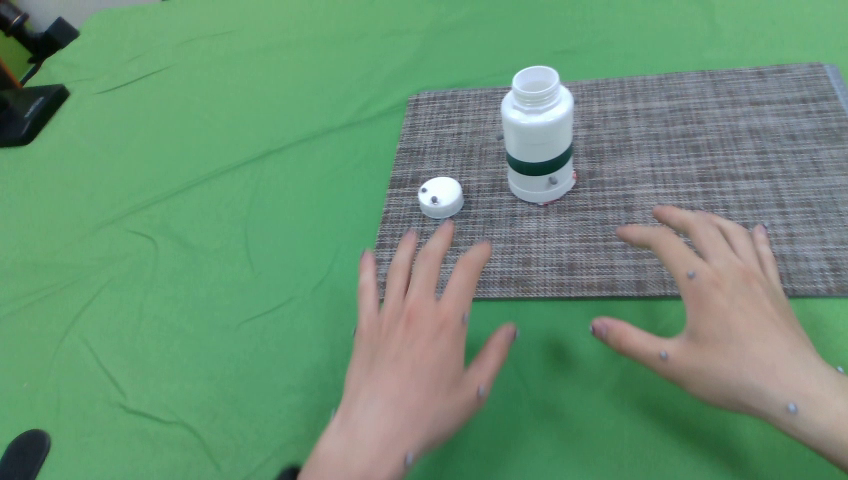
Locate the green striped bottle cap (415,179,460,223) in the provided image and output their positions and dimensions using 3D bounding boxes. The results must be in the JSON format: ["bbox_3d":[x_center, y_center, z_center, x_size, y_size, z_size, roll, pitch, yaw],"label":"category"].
[{"bbox_3d":[0.013,-0.039,0.599,0.044,0.020,0.044,-4,49,6],"label":"green striped bottle cap"}]

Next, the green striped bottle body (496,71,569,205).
[{"bbox_3d":[0.100,-0.094,0.554,0.063,0.120,0.062,-7,48,8],"label":"green striped bottle body"}]
